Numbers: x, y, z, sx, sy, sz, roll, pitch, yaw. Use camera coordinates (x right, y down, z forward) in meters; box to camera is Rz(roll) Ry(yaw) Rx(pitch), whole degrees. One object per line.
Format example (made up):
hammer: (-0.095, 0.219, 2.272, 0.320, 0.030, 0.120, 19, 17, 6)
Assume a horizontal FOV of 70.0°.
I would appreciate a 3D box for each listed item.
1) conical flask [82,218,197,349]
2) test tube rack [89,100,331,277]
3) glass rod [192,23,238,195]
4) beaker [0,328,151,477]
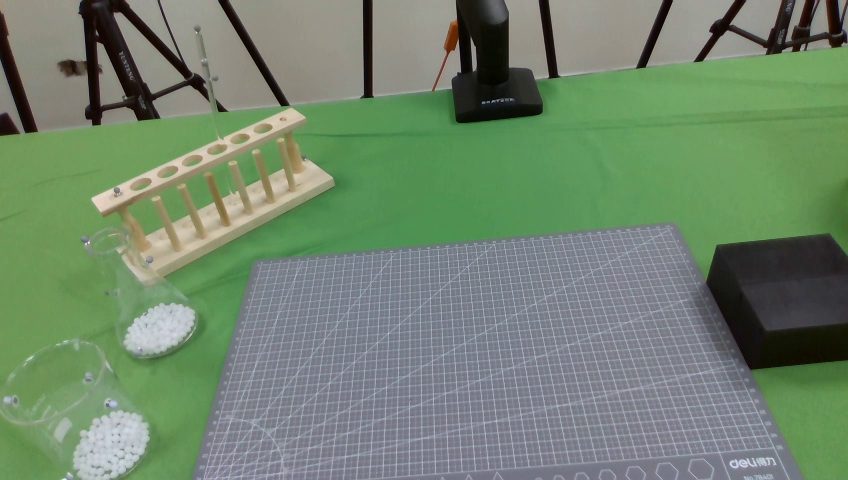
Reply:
conical flask: (-0.264, 0.037, 0.554, 0.075, 0.123, 0.074, -4, 42, 4)
test tube rack: (-0.231, -0.065, 0.687, 0.242, 0.086, 0.066, -33, 48, -25)
glass rod: (-0.228, -0.136, 0.666, 0.008, 0.201, 0.008, -1, 35, 1)
beaker: (-0.265, 0.128, 0.472, 0.074, 0.101, 0.083, -7, 42, 0)
